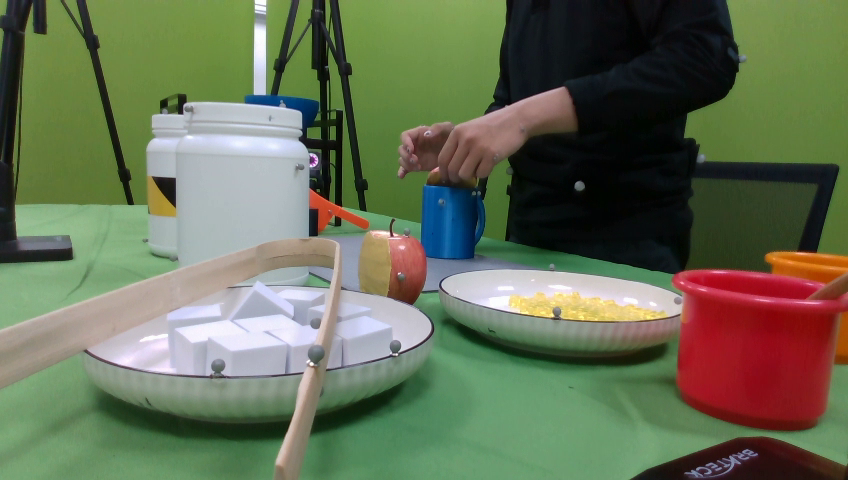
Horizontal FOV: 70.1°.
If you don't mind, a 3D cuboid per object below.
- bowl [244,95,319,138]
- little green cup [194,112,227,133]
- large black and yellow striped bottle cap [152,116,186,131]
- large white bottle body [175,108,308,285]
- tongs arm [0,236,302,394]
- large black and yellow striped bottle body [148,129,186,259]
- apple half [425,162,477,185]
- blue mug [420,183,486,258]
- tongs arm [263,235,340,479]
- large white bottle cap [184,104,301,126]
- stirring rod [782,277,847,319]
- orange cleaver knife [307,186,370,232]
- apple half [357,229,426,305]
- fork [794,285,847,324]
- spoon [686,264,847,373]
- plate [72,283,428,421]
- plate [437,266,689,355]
[{"bbox_3d":[-0.293,-0.251,1.249,0.151,0.077,0.151,2,8,0],"label":"bowl"},{"bbox_3d":[-0.412,-0.228,1.171,0.061,0.038,0.061,2,8,0],"label":"little green cup"},{"bbox_3d":[-0.309,-0.155,0.826,0.115,0.019,0.115,3,6,0],"label":"large black and yellow striped bottle cap"},{"bbox_3d":[-0.188,-0.042,0.630,0.131,0.184,0.130,2,8,0],"label":"large white bottle body"},{"bbox_3d":[-0.158,0.038,0.351,0.028,0.028,0.388,-3,8,12],"label":"tongs arm"},{"bbox_3d":[-0.310,-0.073,0.838,0.131,0.184,0.130,2,8,0],"label":"large black and yellow striped bottle body"},{"bbox_3d":[0.042,-0.096,0.894,0.081,0.033,0.081,9,-28,5],"label":"apple half"},{"bbox_3d":[0.049,-0.032,0.912,0.117,0.106,0.082,-4,9,-39],"label":"blue mug"},{"bbox_3d":[-0.074,0.039,0.349,0.051,0.026,0.384,-2,9,-3],"label":"tongs arm"},{"bbox_3d":[-0.184,-0.126,0.618,0.115,0.018,0.115,2,8,0],"label":"large white bottle cap"},{"bbox_3d":[0.344,0.019,0.461,0.014,0.006,0.176,-13,-27,-30],"label":"stirring rod"},{"bbox_3d":[-0.197,-0.056,1.141,0.212,0.077,0.012,29,0,-34],"label":"orange cleaver knife"},{"bbox_3d":[-0.026,0.028,0.570,0.053,0.074,0.080,3,2,-28],"label":"apple half"},{"bbox_3d":[0.332,0.018,0.443,0.028,0.018,0.207,-1,-36,-15],"label":"fork"},{"bbox_3d":[0.214,0.032,0.328,0.042,0.021,0.193,-3,-35,-26],"label":"spoon"},{"bbox_3d":[-0.102,0.066,0.381,0.208,0.039,0.207,2,7,0],"label":"plate"},{"bbox_3d":[0.114,0.057,0.517,0.209,0.038,0.209,3,7,0],"label":"plate"}]
